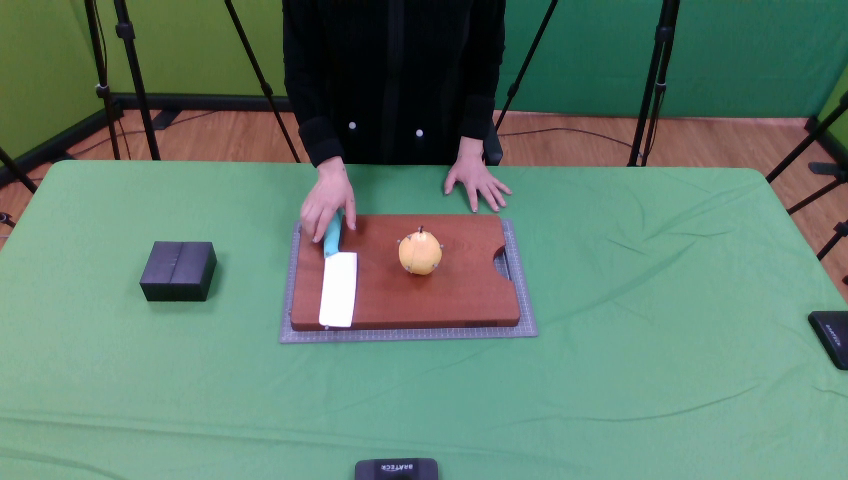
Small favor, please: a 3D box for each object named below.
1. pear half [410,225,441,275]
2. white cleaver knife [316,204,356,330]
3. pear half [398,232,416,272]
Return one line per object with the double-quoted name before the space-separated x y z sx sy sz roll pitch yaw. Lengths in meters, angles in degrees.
"pear half" 0.004 0.013 1.085 0.056 0.110 0.076 2 51 -3
"white cleaver knife" -0.158 0.044 1.112 0.066 0.021 0.284 4 51 -10
"pear half" -0.032 0.017 1.092 0.031 0.088 0.070 1 51 -2
